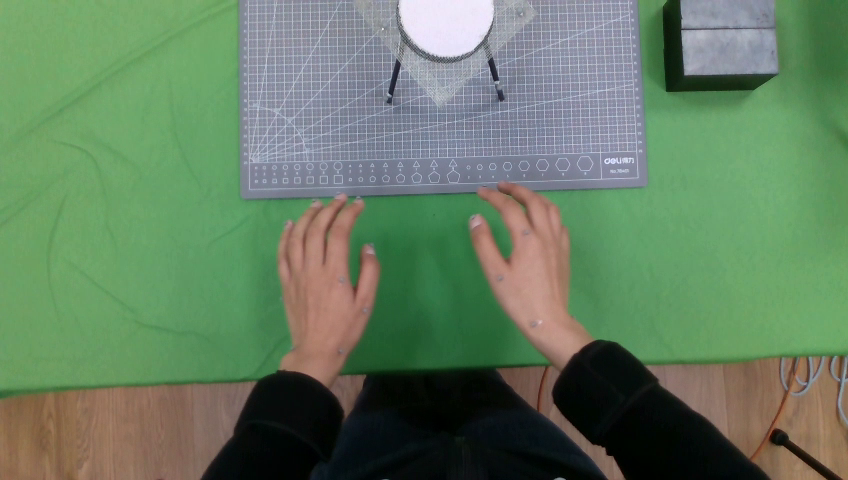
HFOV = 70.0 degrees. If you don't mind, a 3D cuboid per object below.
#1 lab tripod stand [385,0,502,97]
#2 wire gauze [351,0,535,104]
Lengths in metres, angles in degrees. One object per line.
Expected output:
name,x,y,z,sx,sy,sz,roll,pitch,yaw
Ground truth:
lab tripod stand,0.022,-0.203,0.615,0.148,0.131,0.148,0,84,-1
wire gauze,0.017,-0.208,0.548,0.121,0.011,0.125,-42,87,-3
